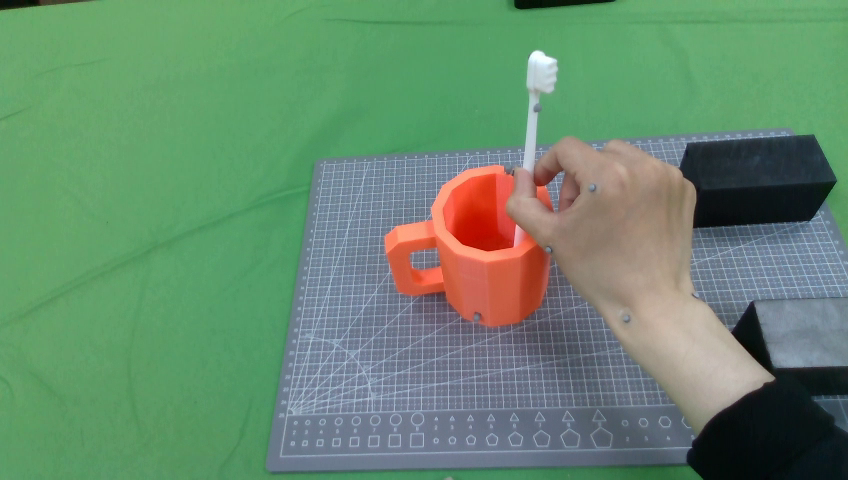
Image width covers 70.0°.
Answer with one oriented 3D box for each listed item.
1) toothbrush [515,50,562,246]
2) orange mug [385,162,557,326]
[{"bbox_3d":[0.074,-0.037,0.413,0.016,0.183,0.014,27,43,32],"label":"toothbrush"},{"bbox_3d":[0.036,0.007,0.459,0.126,0.102,0.082,-7,55,-3],"label":"orange mug"}]
